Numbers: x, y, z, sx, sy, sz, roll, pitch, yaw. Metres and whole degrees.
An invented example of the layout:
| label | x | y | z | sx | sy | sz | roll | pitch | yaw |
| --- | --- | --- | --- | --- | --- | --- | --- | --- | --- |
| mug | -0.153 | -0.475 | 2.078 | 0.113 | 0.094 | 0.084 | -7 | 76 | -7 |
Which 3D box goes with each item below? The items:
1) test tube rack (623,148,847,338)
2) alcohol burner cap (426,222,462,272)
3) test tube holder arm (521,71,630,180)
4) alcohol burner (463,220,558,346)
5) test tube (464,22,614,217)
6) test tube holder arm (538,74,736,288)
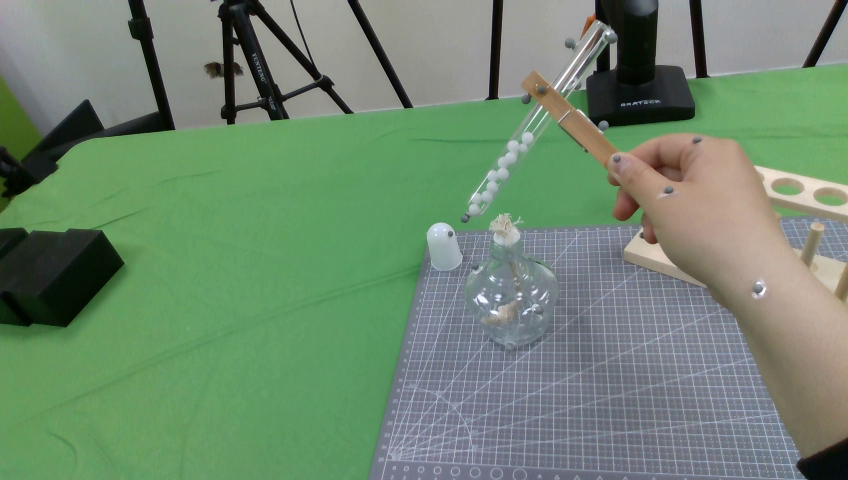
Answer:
| label | x | y | z | sx | sy | sz | roll | pitch | yaw |
| --- | --- | --- | --- | --- | --- | --- | --- | --- | --- |
| test tube rack | 0.284 | 0.005 | 0.472 | 0.240 | 0.086 | 0.066 | 22 | 52 | 36 |
| alcohol burner cap | 0.018 | 0.004 | 0.586 | 0.034 | 0.048 | 0.033 | -7 | 41 | 7 |
| test tube holder arm | 0.097 | -0.074 | 0.389 | 0.087 | 0.015 | 0.010 | 47 | 21 | 6 |
| alcohol burner | 0.068 | 0.029 | 0.484 | 0.078 | 0.120 | 0.077 | -7 | 41 | 7 |
| test tube | 0.073 | -0.076 | 0.403 | 0.150 | 0.017 | 0.017 | -55 | 37 | 19 |
| test tube holder arm | 0.128 | -0.041 | 0.385 | 0.177 | 0.015 | 0.013 | 50 | 22 | 14 |
